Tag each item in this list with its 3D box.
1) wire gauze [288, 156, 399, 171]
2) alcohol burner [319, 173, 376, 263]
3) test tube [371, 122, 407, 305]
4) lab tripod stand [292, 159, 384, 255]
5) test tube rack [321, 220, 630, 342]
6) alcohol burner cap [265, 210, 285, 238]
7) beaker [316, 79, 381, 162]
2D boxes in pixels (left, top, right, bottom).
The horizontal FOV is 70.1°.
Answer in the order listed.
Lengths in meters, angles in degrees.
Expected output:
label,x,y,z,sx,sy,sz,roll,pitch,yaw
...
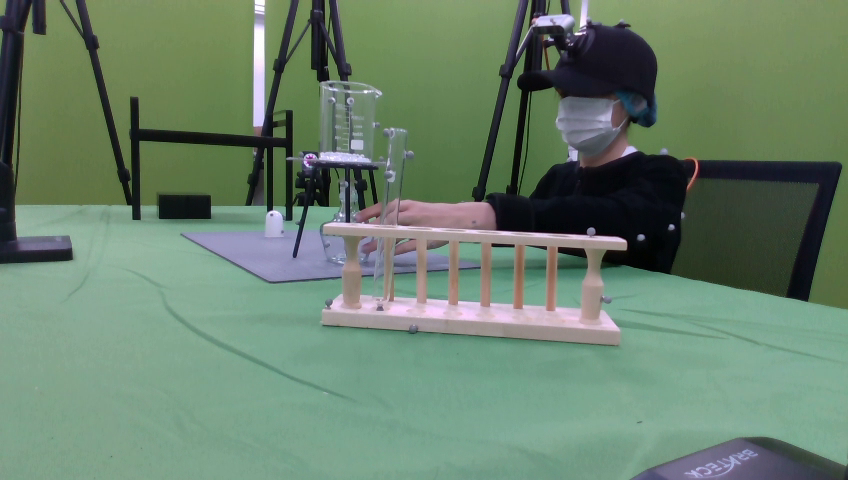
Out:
label,x,y,z,sx,sy,sz,roll,pitch,yaw
wire gauze,-0.101,-0.103,0.788,0.121,0.011,0.125,5,4,5
alcohol burner,-0.101,-0.030,0.805,0.078,0.119,0.078,0,6,0
test tube,-0.029,-0.020,0.493,0.017,0.150,0.017,6,9,-1
lab tripod stand,-0.105,-0.039,0.797,0.148,0.131,0.148,2,5,0
test tube rack,0.041,0.029,0.511,0.242,0.085,0.067,3,7,5
alcohol burner cap,-0.253,-0.027,1.027,0.034,0.048,0.034,2,9,0
beaker,-0.098,-0.151,0.778,0.084,0.100,0.074,4,7,6
